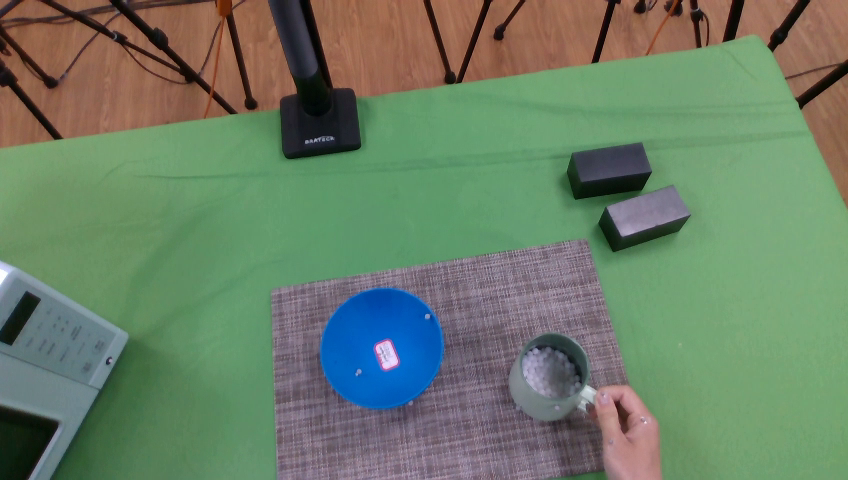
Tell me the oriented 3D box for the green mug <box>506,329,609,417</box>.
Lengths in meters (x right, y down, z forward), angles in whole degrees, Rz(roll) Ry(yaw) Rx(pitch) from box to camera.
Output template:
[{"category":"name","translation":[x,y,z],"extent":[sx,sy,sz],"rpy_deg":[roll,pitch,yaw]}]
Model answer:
[{"category":"green mug","translation":[0.161,0.167,0.720],"extent":[0.124,0.106,0.092],"rpy_deg":[31,70,16]}]

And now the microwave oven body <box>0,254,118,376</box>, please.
[{"category":"microwave oven body","translation":[-0.621,0.207,0.657],"extent":[0.325,0.262,0.439],"rpy_deg":[18,68,10]}]

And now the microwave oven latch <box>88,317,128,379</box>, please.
[{"category":"microwave oven latch","translation":[-0.416,0.138,0.784],"extent":[0.030,0.030,0.079],"rpy_deg":[19,69,11]}]

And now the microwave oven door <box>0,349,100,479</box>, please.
[{"category":"microwave oven door","translation":[-0.499,0.283,0.611],"extent":[0.039,0.245,0.354],"rpy_deg":[17,68,11]}]

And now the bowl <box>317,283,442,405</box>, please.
[{"category":"bowl","translation":[-0.051,0.137,0.760],"extent":[0.151,0.077,0.150],"rpy_deg":[-1,66,3]}]
